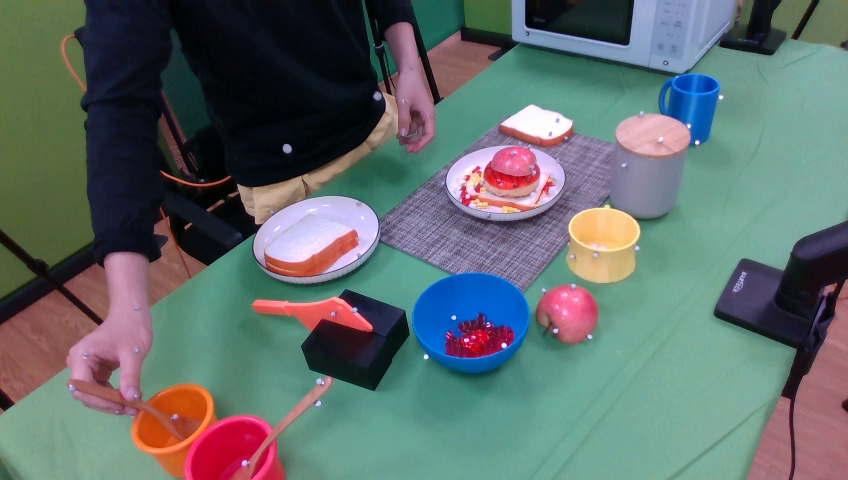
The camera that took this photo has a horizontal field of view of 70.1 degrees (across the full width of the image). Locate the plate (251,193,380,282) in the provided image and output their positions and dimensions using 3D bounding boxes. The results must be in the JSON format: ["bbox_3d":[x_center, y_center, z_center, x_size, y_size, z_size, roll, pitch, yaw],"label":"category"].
[{"bbox_3d":[-0.173,-0.001,0.984,0.209,0.038,0.208,-4,40,3],"label":"plate"}]

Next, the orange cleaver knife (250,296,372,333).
[{"bbox_3d":[-0.159,0.103,0.828,0.210,0.078,0.012,-3,43,39],"label":"orange cleaver knife"}]

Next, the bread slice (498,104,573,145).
[{"bbox_3d":[0.231,-0.231,1.205,0.105,0.019,0.130,-36,47,-28],"label":"bread slice"}]

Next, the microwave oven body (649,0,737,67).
[{"bbox_3d":[0.475,-0.602,1.411,0.438,0.261,0.327,23,50,32],"label":"microwave oven body"}]

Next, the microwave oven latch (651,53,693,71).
[{"bbox_3d":[0.532,-0.386,1.301,0.078,0.029,0.030,27,52,34],"label":"microwave oven latch"}]

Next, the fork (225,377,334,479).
[{"bbox_3d":[-0.163,0.216,0.646,0.207,0.019,0.028,-49,42,16],"label":"fork"}]

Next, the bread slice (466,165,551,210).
[{"bbox_3d":[0.141,-0.093,1.041,0.133,0.018,0.107,8,42,20],"label":"bread slice"}]

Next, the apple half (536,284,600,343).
[{"bbox_3d":[0.196,0.091,0.815,0.075,0.053,0.080,-22,42,-20],"label":"apple half"}]

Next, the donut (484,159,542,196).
[{"bbox_3d":[0.150,-0.112,1.018,0.099,0.048,0.098,-4,40,4],"label":"donut"}]

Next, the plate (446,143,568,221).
[{"bbox_3d":[0.142,-0.097,1.045,0.207,0.039,0.206,-4,40,4],"label":"plate"}]

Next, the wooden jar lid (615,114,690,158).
[{"bbox_3d":[0.347,-0.155,0.923,0.108,0.021,0.108,-3,44,4],"label":"wooden jar lid"}]

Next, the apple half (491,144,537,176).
[{"bbox_3d":[0.149,-0.139,0.995,0.081,0.033,0.081,1,38,0],"label":"apple half"}]

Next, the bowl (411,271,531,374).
[{"bbox_3d":[0.062,0.119,0.780,0.151,0.077,0.150,-4,40,4],"label":"bowl"}]

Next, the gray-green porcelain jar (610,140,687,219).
[{"bbox_3d":[0.354,-0.106,0.964,0.106,0.127,0.105,-4,41,4],"label":"gray-green porcelain jar"}]

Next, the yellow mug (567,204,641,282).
[{"bbox_3d":[0.268,-0.005,0.905,0.099,0.064,0.130,6,42,15],"label":"yellow mug"}]

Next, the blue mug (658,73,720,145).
[{"bbox_3d":[0.483,-0.250,1.127,0.082,0.106,0.115,-26,44,-19],"label":"blue mug"}]

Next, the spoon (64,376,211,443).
[{"bbox_3d":[-0.303,0.181,0.656,0.021,0.195,0.041,-35,48,0],"label":"spoon"}]

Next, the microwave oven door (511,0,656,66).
[{"bbox_3d":[0.350,-0.539,1.348,0.353,0.245,0.039,24,50,31],"label":"microwave oven door"}]
